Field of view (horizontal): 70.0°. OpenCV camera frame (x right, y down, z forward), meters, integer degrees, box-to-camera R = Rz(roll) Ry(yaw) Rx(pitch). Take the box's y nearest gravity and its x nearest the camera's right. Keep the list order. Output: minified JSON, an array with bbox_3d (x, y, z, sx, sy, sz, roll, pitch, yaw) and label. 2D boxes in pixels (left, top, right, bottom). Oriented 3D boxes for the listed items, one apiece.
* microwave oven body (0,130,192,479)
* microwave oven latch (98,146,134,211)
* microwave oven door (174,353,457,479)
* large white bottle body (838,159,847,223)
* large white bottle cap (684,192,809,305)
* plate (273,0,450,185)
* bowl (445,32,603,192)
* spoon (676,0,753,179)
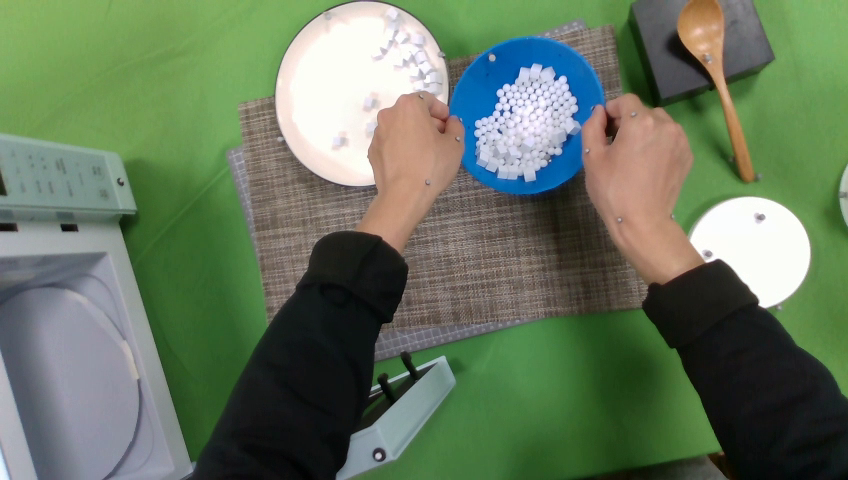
[{"bbox_3d":[-0.497,0.140,0.692,0.325,0.260,0.441,-18,88,13],"label":"microwave oven body"},{"bbox_3d":[-0.391,-0.076,0.757,0.030,0.029,0.079,-18,89,13],"label":"microwave oven latch"},{"bbox_3d":[-0.152,0.222,0.607,0.355,0.244,0.039,-27,85,13],"label":"microwave oven door"},{"bbox_3d":[0.447,-0.047,0.497,0.130,0.185,0.130,0,92,14],"label":"large white bottle body"},{"bbox_3d":[0.326,0.009,0.614,0.114,0.018,0.115,0,92,12],"label":"large white bottle cap"},{"bbox_3d":[-0.069,-0.164,0.689,0.208,0.038,0.209,0,91,14],"label":"plate"},{"bbox_3d":[0.103,-0.122,0.611,0.151,0.077,0.151,1,92,16],"label":"bowl"},{"bbox_3d":[0.285,-0.141,0.581,0.041,0.021,0.195,-24,109,11],"label":"spoon"}]
